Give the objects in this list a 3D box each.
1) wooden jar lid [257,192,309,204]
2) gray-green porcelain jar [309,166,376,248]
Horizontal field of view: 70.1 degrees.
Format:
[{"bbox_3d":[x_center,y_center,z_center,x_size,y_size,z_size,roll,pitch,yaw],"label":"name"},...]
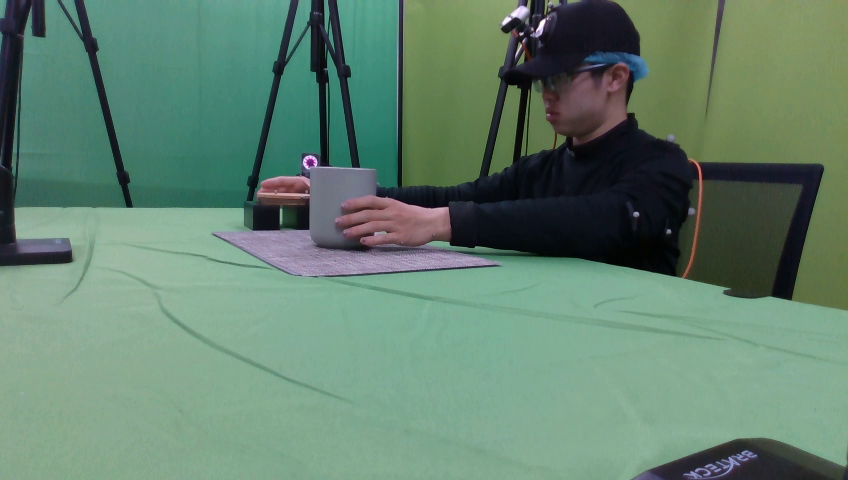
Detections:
[{"bbox_3d":[-0.282,-0.086,1.223,0.108,0.020,0.108,3,7,0],"label":"wooden jar lid"},{"bbox_3d":[-0.130,-0.054,0.966,0.106,0.126,0.106,2,8,0],"label":"gray-green porcelain jar"}]
